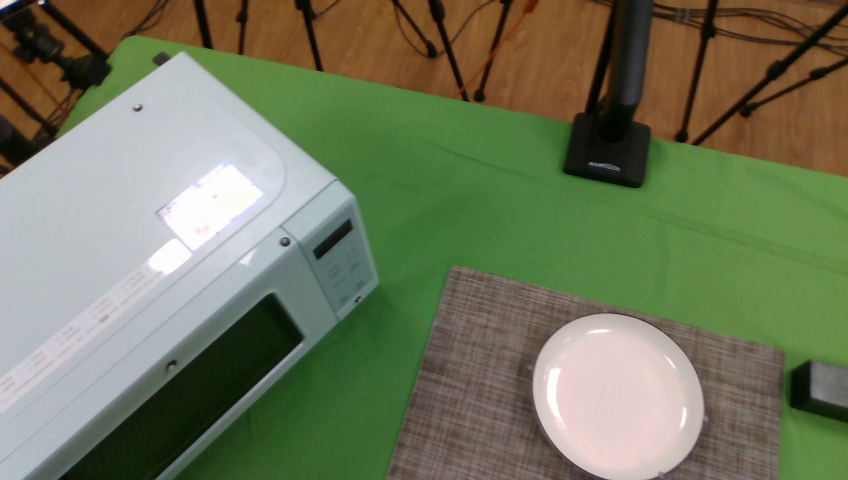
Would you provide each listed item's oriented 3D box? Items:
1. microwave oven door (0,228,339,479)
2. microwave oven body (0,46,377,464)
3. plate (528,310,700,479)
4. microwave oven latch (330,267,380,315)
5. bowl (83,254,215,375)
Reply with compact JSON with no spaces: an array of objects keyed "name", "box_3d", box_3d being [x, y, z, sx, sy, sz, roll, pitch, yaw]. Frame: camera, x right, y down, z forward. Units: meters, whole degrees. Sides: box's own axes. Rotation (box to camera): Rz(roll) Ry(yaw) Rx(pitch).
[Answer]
[{"name":"microwave oven door","box_3d":[-0.253,0.159,0.661,0.039,0.246,0.355,40,71,20]},{"name":"microwave oven body","box_3d":[-0.329,0.046,0.726,0.324,0.262,0.441,40,72,19]},{"name":"plate","box_3d":[0.232,0.190,0.756,0.207,0.039,0.206,-1,64,2]},{"name":"microwave oven latch","box_3d":[-0.095,0.062,0.816,0.079,0.030,0.030,-42,70,-16]},{"name":"bowl","box_3d":[-0.320,0.101,0.739,0.151,0.077,0.150,-2,59,3]}]
